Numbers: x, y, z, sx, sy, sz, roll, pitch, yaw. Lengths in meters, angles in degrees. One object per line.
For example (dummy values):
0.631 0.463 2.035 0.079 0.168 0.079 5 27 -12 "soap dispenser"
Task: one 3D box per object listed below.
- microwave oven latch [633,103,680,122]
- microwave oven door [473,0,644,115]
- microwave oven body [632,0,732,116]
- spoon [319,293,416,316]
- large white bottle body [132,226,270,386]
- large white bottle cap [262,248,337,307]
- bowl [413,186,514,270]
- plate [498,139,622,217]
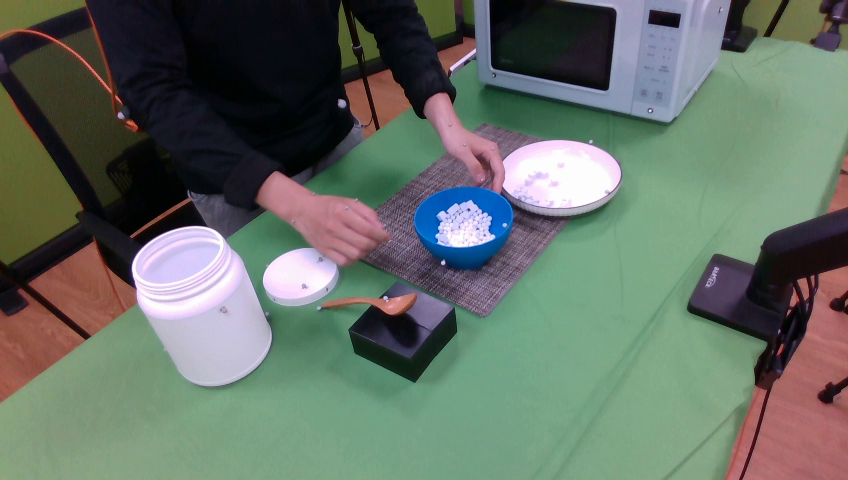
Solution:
0.443 -0.249 1.157 0.078 0.029 0.030 21 49 30 "microwave oven latch"
0.257 -0.396 1.199 0.353 0.245 0.039 21 48 29 "microwave oven door"
0.377 -0.463 1.267 0.438 0.261 0.327 21 49 30 "microwave oven body"
-0.082 0.086 0.826 0.192 0.022 0.041 -3 37 41 "spoon"
-0.286 0.085 0.783 0.130 0.185 0.130 -4 41 4 "large white bottle body"
-0.192 0.056 0.934 0.115 0.018 0.114 -4 41 4 "large white bottle cap"
0.062 -0.008 0.920 0.151 0.077 0.150 -4 40 4 "bowl"
0.231 -0.103 1.038 0.209 0.038 0.208 -4 41 4 "plate"
